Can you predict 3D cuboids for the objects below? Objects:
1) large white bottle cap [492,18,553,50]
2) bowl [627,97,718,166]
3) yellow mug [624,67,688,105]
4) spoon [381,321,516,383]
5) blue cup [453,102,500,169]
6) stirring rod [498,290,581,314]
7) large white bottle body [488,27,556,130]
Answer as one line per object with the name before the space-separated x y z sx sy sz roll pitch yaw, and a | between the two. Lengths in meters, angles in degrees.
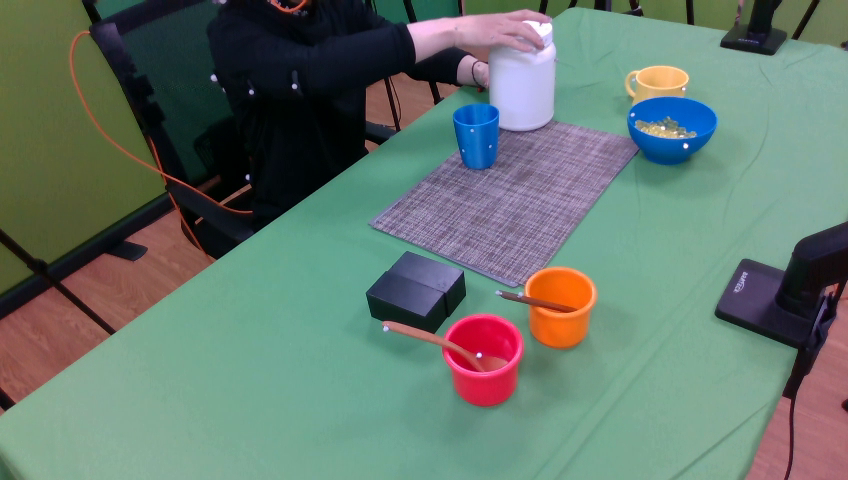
large white bottle cap | 0.185 -0.391 1.143 0.115 0.018 0.114 -4 40 4
bowl | 0.439 -0.187 1.087 0.151 0.077 0.150 -4 41 4
yellow mug | 0.464 -0.306 1.230 0.100 0.064 0.129 -34 46 -27
spoon | 0.033 0.131 0.725 0.195 0.021 0.041 29 29 -26
blue cup | 0.099 -0.189 1.115 0.092 0.100 0.092 -4 39 4
stirring rod | 0.152 0.081 0.772 0.178 0.006 0.014 15 20 -44
large white bottle body | 0.194 -0.326 1.197 0.130 0.185 0.130 -4 39 4
